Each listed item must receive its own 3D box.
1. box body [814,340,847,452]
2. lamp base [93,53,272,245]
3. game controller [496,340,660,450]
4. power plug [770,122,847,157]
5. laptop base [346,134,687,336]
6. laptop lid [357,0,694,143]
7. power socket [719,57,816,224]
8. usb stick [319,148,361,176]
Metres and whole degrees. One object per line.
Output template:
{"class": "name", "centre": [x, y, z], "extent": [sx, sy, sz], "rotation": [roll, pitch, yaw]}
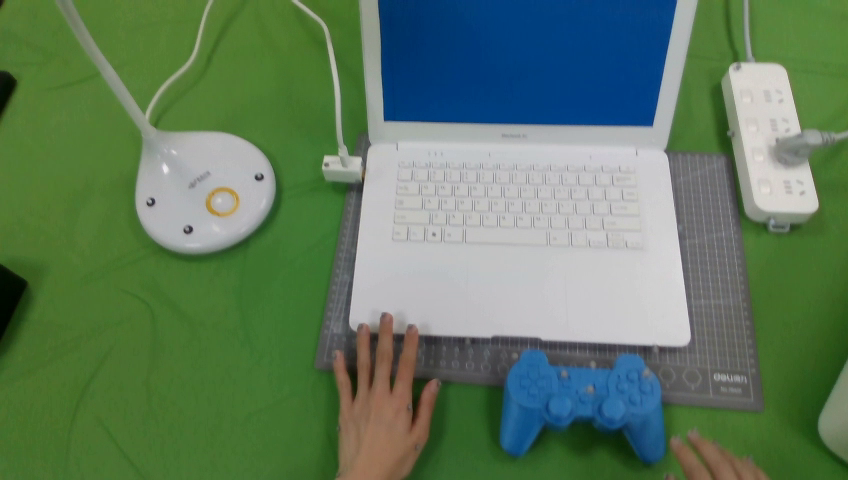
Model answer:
{"class": "box body", "centre": [0.557, 0.087, 0.532], "extent": [0.252, 0.161, 0.363], "rotation": [35, 71, 17]}
{"class": "lamp base", "centre": [-0.272, -0.105, 0.645], "extent": [0.178, 0.182, 0.160], "rotation": [29, 69, 18]}
{"class": "game controller", "centre": [0.148, 0.146, 0.583], "extent": [0.155, 0.052, 0.096], "rotation": [3, 62, 3]}
{"class": "power plug", "centre": [0.426, -0.105, 0.676], "extent": [0.072, 0.053, 0.035], "rotation": [14, 65, 7]}
{"class": "laptop base", "centre": [0.099, -0.011, 0.676], "extent": [0.354, 0.023, 0.234], "rotation": [2, 68, 3]}
{"class": "laptop lid", "centre": [0.104, -0.214, 0.660], "extent": [0.356, 0.244, 0.013], "rotation": [0, 34, 4]}
{"class": "power socket", "centre": [0.399, -0.126, 0.711], "extent": [0.072, 0.033, 0.225], "rotation": [3, 64, 3]}
{"class": "usb stick", "centre": [-0.091, -0.090, 0.706], "extent": [0.059, 0.027, 0.021], "rotation": [6, 59, 1]}
